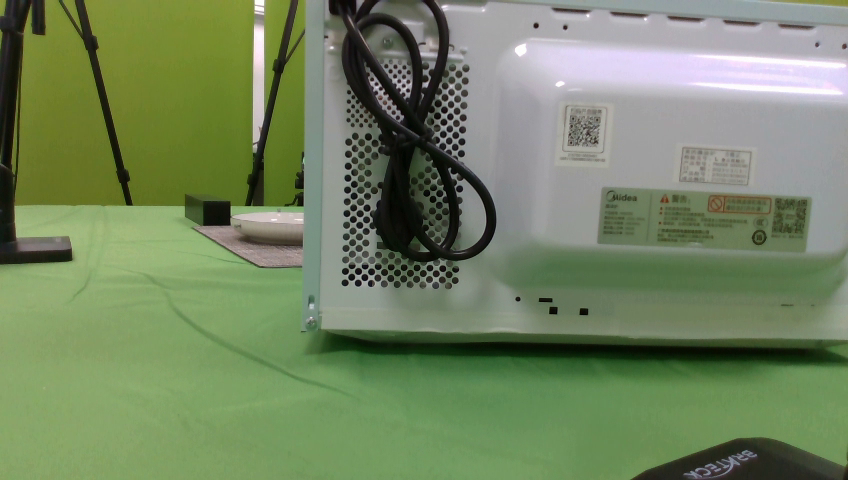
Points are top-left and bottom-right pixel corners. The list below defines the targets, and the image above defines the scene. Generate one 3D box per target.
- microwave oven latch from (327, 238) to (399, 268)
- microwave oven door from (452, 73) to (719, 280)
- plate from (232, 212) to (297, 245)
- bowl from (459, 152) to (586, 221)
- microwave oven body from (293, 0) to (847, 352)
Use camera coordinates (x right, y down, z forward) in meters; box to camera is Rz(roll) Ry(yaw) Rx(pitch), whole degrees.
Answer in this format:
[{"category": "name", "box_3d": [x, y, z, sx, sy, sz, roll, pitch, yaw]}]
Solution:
[{"category": "microwave oven latch", "box_3d": [-0.069, 0.015, 0.694, 0.079, 0.029, 0.030, 3, 7, -3]}, {"category": "microwave oven door", "box_3d": [0.194, -0.091, 0.815, 0.354, 0.243, 0.039, 8, 9, 38]}, {"category": "plate", "box_3d": [-0.214, -0.019, 1.018, 0.208, 0.039, 0.207, 2, 7, 0]}, {"category": "bowl", "box_3d": [0.118, -0.065, 0.730, 0.151, 0.077, 0.151, -1, 10, 0]}, {"category": "microwave oven body", "box_3d": [0.122, -0.055, 0.550, 0.442, 0.260, 0.325, 3, 7, -5]}]
